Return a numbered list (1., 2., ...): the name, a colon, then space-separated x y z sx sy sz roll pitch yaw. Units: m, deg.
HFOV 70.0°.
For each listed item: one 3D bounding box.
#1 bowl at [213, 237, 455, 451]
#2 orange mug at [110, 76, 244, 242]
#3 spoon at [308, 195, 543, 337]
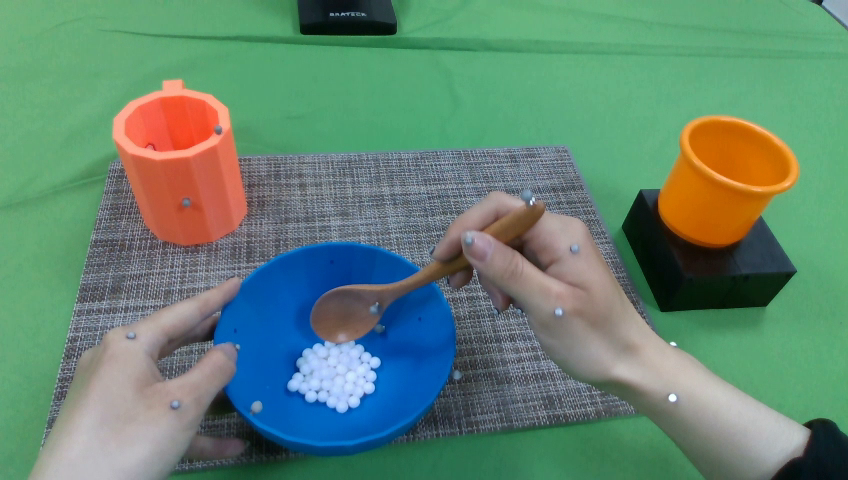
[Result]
1. bowl: -0.058 0.079 0.409 0.151 0.077 0.150 4 49 -5
2. orange mug: -0.204 -0.076 0.508 0.084 0.101 0.125 -10 56 -15
3. spoon: -0.006 0.021 0.367 0.042 0.193 0.021 45 42 -20
